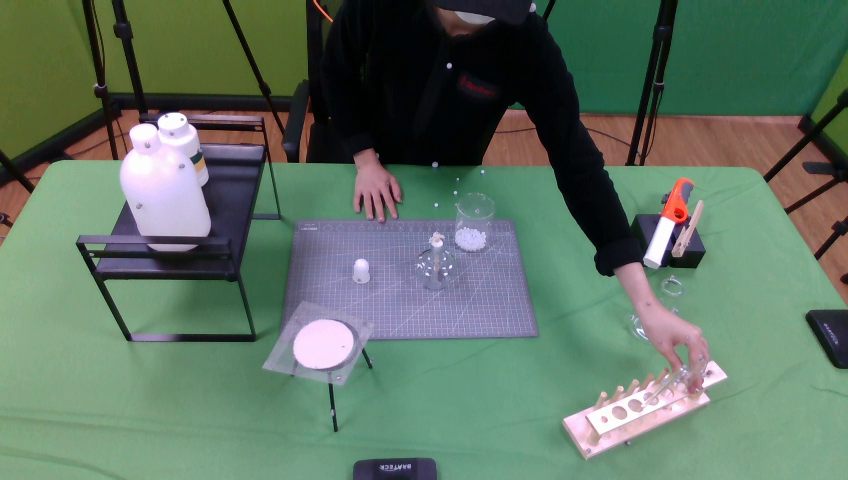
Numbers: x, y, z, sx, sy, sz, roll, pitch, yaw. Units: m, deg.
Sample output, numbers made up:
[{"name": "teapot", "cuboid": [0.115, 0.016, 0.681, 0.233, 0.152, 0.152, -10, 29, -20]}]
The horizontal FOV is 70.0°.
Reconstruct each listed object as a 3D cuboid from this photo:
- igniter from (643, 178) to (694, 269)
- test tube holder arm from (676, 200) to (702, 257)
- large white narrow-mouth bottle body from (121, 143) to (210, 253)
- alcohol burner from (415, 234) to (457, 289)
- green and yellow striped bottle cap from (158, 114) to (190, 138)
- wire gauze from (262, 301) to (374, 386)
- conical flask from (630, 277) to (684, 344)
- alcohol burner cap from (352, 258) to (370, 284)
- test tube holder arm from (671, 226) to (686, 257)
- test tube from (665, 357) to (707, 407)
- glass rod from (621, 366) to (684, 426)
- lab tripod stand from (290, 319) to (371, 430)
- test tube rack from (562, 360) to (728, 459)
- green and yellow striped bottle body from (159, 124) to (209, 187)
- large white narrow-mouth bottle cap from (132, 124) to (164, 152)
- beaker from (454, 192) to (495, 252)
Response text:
[{"name": "igniter", "cuboid": [0.488, -0.042, 1.204, 0.057, 0.025, 0.276, 30, 52, 11]}, {"name": "test tube holder arm", "cuboid": [0.522, -0.025, 1.190, 0.013, 0.015, 0.178, -1, 35, 41]}, {"name": "large white narrow-mouth bottle body", "cuboid": [-0.378, -0.077, 0.875, 0.102, 0.195, 0.101, 3, 46, -3]}, {"name": "alcohol burner", "cuboid": [0.022, 0.034, 1.100, 0.078, 0.120, 0.077, 1, 47, 0]}, {"name": "green and yellow striped bottle cap", "cuboid": [-0.392, -0.179, 0.951, 0.045, 0.020, 0.045, 2, 44, -2]}, {"name": "wire gauze", "cuboid": [-0.150, 0.148, 0.873, 0.121, 0.011, 0.124, 14, 46, 12]}, {"name": "conical flask", "cuboid": [0.408, 0.118, 1.045, 0.075, 0.122, 0.075, 2, 46, -2]}, {"name": "alcohol burner cap", "cuboid": [-0.117, 0.055, 1.118, 0.034, 0.048, 0.033, 2, 46, -2]}, {"name": "test tube holder arm", "cuboid": [0.494, 0.001, 1.166, 0.010, 0.015, 0.087, 0, 35, 42]}, {"name": "test tube", "cuboid": [0.387, 0.216, 0.905, 0.017, 0.151, 0.017, 1, 52, -1]}, {"name": "glass rod", "cuboid": [0.322, 0.227, 0.866, 0.008, 0.200, 0.008, 6, 51, -7]}, {"name": "lab tripod stand", "cuboid": [-0.146, 0.194, 0.923, 0.148, 0.132, 0.147, 1, 47, -1]}, {"name": "test tube rack", "cuboid": [0.341, 0.247, 0.940, 0.243, 0.085, 0.066, -16, 50, -18]}, {"name": "green and yellow striped bottle body", "cuboid": [-0.395, -0.145, 0.989, 0.063, 0.120, 0.063, 2, 46, -2]}, {"name": "large white narrow-mouth bottle cap", "cuboid": [-0.370, -0.137, 0.812, 0.038, 0.024, 0.037, 3, 46, -3]}, {"name": "beaker", "cuboid": [0.097, -0.034, 1.180, 0.074, 0.101, 0.084, 23, 49, 17]}]
